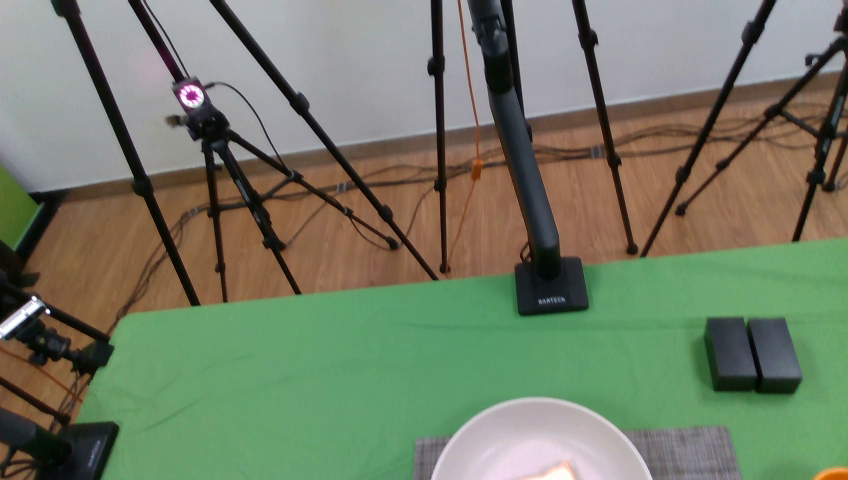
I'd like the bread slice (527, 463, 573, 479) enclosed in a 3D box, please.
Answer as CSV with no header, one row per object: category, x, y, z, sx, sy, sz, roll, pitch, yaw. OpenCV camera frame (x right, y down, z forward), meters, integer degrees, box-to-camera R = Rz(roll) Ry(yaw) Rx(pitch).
bread slice,0.152,0.374,0.811,0.134,0.018,0.105,-21,46,-5

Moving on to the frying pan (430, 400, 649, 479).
frying pan,0.138,0.424,0.717,0.306,0.104,0.483,-5,40,13
